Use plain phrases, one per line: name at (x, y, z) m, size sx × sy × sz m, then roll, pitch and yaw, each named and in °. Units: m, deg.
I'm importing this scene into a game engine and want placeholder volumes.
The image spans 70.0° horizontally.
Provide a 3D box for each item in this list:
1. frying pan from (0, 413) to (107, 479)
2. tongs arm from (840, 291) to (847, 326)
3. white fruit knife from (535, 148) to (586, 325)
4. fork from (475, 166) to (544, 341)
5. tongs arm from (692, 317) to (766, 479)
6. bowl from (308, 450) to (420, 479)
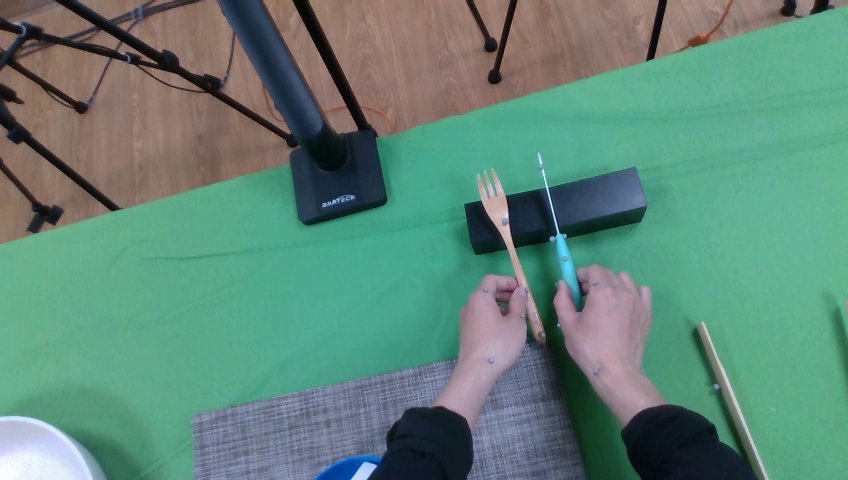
frying pan at (-0.475, 0.444, 0.662) m, size 0.306 × 0.104 × 0.483 m, roll -15°, pitch 61°, yaw 7°
tongs arm at (0.431, 0.240, 0.584) m, size 0.050 × 0.027 × 0.382 m, roll -7°, pitch 72°, yaw 11°
white fruit knife at (0.150, -0.003, 0.680) m, size 0.016 × 0.027 × 0.207 m, roll -15°, pitch 90°, yaw 10°
fork at (0.100, 0.015, 0.687) m, size 0.028 × 0.018 × 0.207 m, roll -18°, pitch 86°, yaw 4°
tongs arm at (0.353, 0.257, 0.599) m, size 0.028 × 0.028 × 0.384 m, roll -18°, pitch 70°, yaw 3°
bowl at (-0.055, 0.299, 0.635) m, size 0.151 × 0.077 × 0.150 m, roll -3°, pitch 72°, yaw 10°
